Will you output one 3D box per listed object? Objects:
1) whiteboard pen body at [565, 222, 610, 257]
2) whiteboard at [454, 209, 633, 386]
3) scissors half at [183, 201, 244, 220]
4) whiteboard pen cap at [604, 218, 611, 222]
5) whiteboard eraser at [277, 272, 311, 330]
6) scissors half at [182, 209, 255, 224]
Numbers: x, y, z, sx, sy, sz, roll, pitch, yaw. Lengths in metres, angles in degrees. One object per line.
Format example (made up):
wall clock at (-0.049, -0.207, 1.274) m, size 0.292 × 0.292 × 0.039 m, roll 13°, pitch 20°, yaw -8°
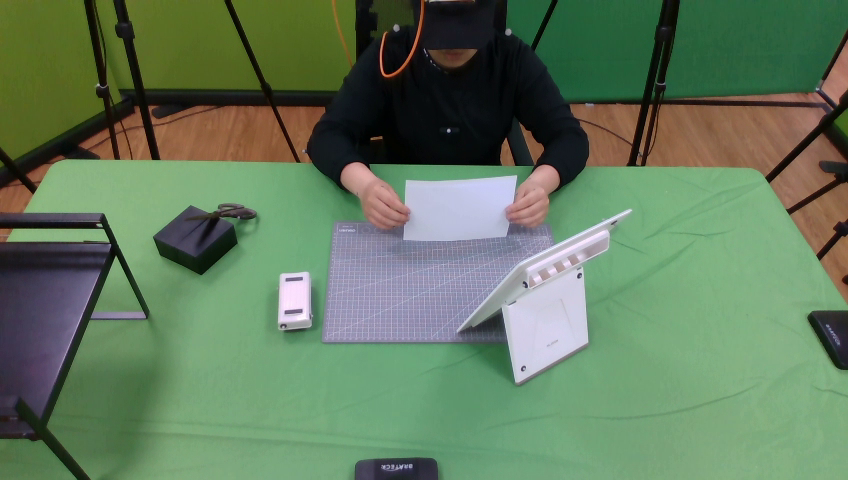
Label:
whiteboard pen body at (0.335, -0.004, 1.228) m, size 0.141 × 0.017 × 0.017 m, roll -32°, pitch 56°, yaw -29°
whiteboard at (0.211, 0.111, 0.954) m, size 0.217 × 0.306 × 0.143 m, roll -22°, pitch 72°, yaw -24°
scissors half at (-0.405, -0.054, 1.163) m, size 0.040 × 0.013 × 0.175 m, roll 27°, pitch 18°, yaw 8°
whiteboard pen cap at (0.378, -0.031, 1.255) m, size 0.033 × 0.018 × 0.018 m, roll -33°, pitch 57°, yaw -29°
whiteboard eraser at (-0.228, 0.108, 1.062) m, size 0.056 × 0.042 × 0.112 m, roll -3°, pitch 46°, yaw -10°
scissors half at (-0.389, -0.043, 1.158) m, size 0.040 × 0.013 × 0.175 m, roll 39°, pitch 21°, yaw 23°
